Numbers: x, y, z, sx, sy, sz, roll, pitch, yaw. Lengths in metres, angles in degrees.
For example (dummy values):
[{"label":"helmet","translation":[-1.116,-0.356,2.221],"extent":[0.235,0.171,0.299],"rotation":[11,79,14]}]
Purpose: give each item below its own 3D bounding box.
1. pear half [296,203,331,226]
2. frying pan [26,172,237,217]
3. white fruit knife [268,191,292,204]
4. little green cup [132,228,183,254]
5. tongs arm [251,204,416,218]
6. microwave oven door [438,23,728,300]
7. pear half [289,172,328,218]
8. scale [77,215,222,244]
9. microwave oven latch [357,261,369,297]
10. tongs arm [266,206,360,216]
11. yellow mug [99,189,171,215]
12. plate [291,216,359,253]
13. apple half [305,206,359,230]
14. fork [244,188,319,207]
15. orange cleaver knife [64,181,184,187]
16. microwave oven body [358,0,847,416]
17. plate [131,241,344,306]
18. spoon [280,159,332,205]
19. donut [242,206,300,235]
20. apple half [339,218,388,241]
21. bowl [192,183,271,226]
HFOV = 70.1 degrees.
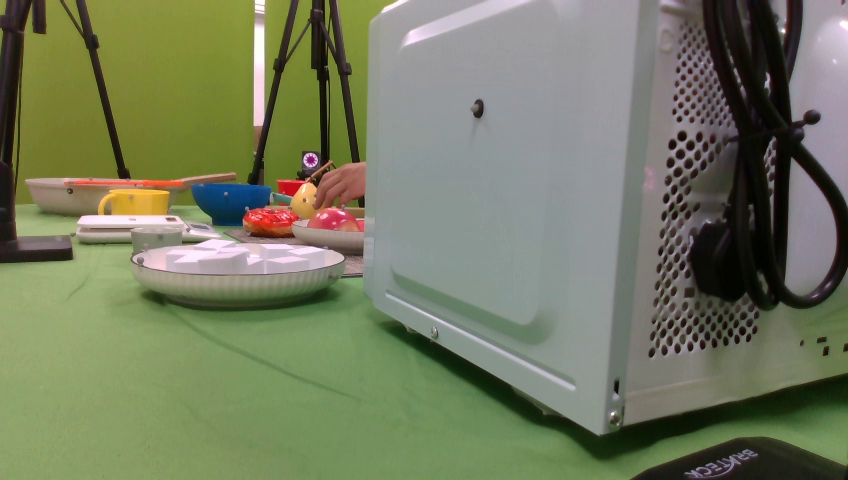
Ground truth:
[{"label":"pear half","translation":[-0.229,-0.049,1.259],"extent":[0.070,0.031,0.088],"rotation":[0,22,-3]},{"label":"frying pan","translation":[-0.624,-0.118,1.387],"extent":[0.305,0.102,0.490],"rotation":[8,17,32]},{"label":"white fruit knife","translation":[-0.364,-0.105,1.464],"extent":[0.208,0.027,0.016],"rotation":[15,-1,-34]},{"label":"little green cup","translation":[-0.342,0.006,0.779],"extent":[0.061,0.038,0.061],"rotation":[2,8,0]},{"label":"tongs arm","translation":[-0.210,-0.068,1.440],"extent":[0.389,0.027,0.028],"rotation":[0,-1,-17]},{"label":"microwave oven door","translation":[0.181,-0.073,0.621],"extent":[0.358,0.243,0.039],"rotation":[-2,8,-29]},{"label":"pear half","translation":[-0.228,-0.078,1.183],"extent":[0.076,0.110,0.056],"rotation":[-1,9,1]},{"label":"scale","translation":[-0.434,-0.019,0.963],"extent":[0.202,0.031,0.148],"rotation":[-1,9,-27]},{"label":"microwave oven latch","translation":[-0.019,0.033,0.531],"extent":[0.079,0.029,0.030],"rotation":[-1,7,-27]},{"label":"tongs arm","translation":[-0.173,-0.061,1.362],"extent":[0.387,0.026,0.050],"rotation":[-1,3,-31]},{"label":"yellow mug","translation":[-0.519,-0.055,1.080],"extent":[0.099,0.064,0.131],"rotation":[7,10,26]},{"label":"plate","translation":[-0.103,-0.010,0.945],"extent":[0.209,0.038,0.209],"rotation":[2,8,0]},{"label":"apple half","translation":[-0.137,-0.024,0.914],"extent":[0.081,0.053,0.074],"rotation":[1,9,-38]},{"label":"fork","translation":[-0.356,-0.105,1.526],"extent":[0.208,0.018,0.028],"rotation":[16,-6,-41]},{"label":"orange cleaver knife","translation":[-0.596,-0.113,1.212],"extent":[0.212,0.012,0.077],"rotation":[-3,7,-41]},{"label":"microwave oven body","translation":[0.211,-0.047,0.474],"extent":[0.444,0.260,0.324],"rotation":[-1,7,-28]},{"label":"plate","translation":[-0.187,0.033,0.625],"extent":[0.208,0.039,0.207],"rotation":[2,7,0]},{"label":"spoon","translation":[-0.316,-0.159,1.640],"extent":[0.194,0.022,0.041],"rotation":[-50,32,-20]},{"label":"donut","translation":[-0.263,-0.032,1.039],"extent":[0.099,0.048,0.099],"rotation":[4,10,0]},{"label":"apple half","translation":[-0.096,-0.019,0.984],"extent":[0.081,0.033,0.081],"rotation":[2,8,0]},{"label":"bowl","translation":[-0.382,-0.071,1.202],"extent":[0.151,0.077,0.151],"rotation":[3,7,0]}]
